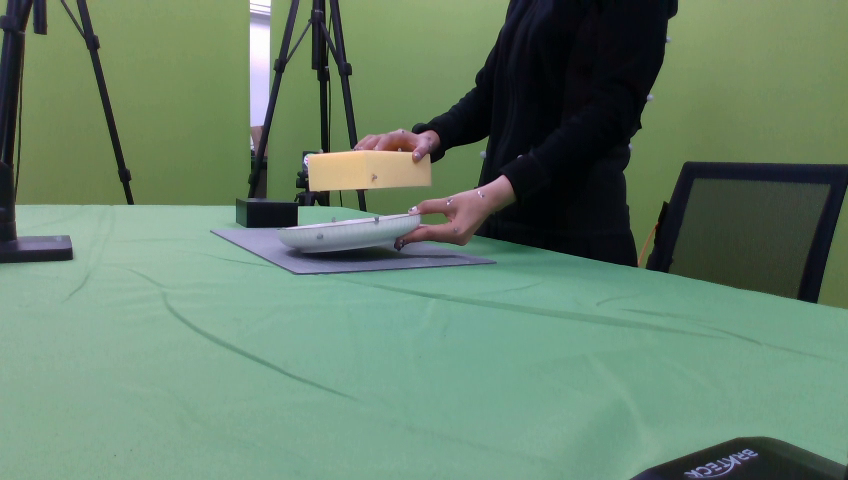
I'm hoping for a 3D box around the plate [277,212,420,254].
[{"bbox_3d":[-0.106,-0.010,0.877,0.209,0.038,0.209,-7,5,1],"label":"plate"}]

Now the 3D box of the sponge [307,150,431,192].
[{"bbox_3d":[-0.089,-0.119,1.039,0.118,0.061,0.208,0,7,29],"label":"sponge"}]
